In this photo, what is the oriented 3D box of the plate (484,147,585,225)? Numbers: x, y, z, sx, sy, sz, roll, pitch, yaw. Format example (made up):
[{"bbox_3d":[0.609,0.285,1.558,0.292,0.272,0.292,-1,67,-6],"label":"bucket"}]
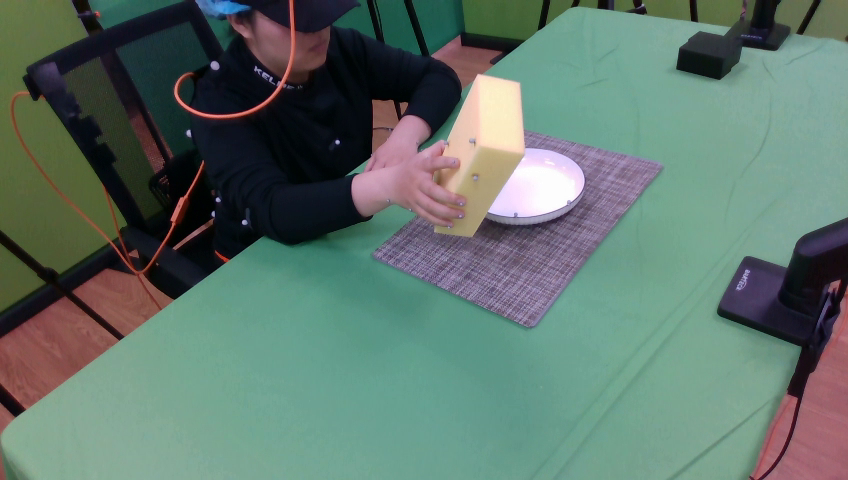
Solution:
[{"bbox_3d":[0.170,-0.089,1.041,0.207,0.039,0.206,-5,40,5],"label":"plate"}]

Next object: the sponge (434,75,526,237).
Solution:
[{"bbox_3d":[0.070,-0.108,0.836,0.061,0.207,0.117,8,58,-13],"label":"sponge"}]
